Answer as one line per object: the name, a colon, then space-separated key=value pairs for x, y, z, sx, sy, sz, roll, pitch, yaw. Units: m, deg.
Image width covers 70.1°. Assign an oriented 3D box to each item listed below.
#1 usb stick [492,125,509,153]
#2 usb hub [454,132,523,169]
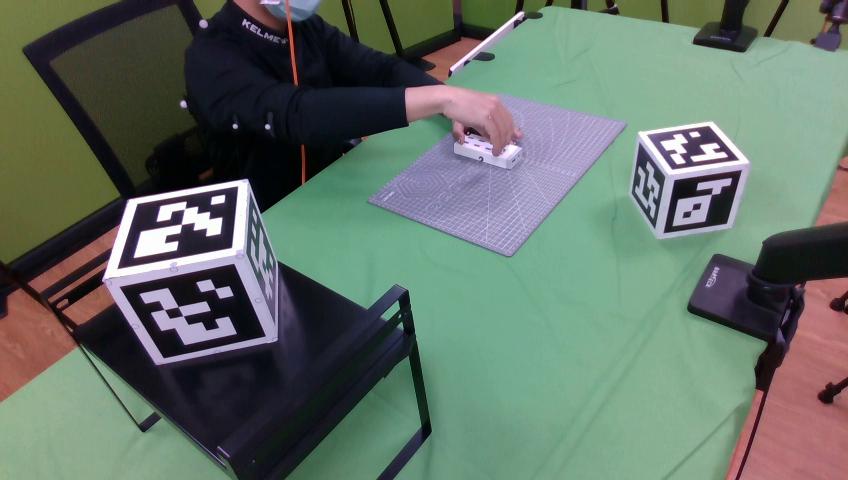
usb stick: x=0.141 y=-0.179 z=1.107 sx=0.021 sy=0.059 sz=0.027 roll=20 pitch=49 yaw=30
usb hub: x=0.121 y=-0.170 z=1.145 sx=0.124 sy=0.025 sz=0.049 roll=22 pitch=48 yaw=29
